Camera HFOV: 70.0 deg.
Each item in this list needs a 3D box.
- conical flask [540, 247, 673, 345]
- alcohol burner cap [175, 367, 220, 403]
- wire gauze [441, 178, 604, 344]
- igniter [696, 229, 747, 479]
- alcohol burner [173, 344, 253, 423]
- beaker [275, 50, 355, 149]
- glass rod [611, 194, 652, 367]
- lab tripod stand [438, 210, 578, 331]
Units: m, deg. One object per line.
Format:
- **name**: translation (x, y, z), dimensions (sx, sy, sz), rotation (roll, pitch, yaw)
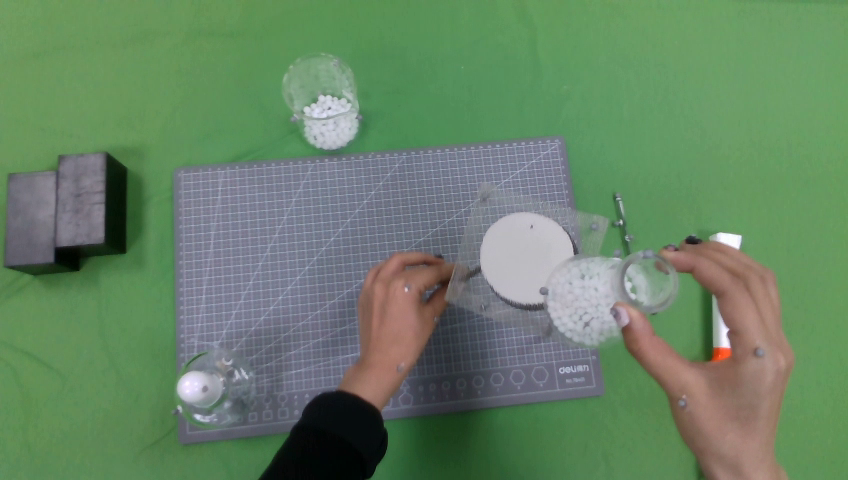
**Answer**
- **conical flask**: translation (0.131, 0.035, 0.426), dimensions (0.075, 0.122, 0.075), rotation (1, 79, -3)
- **alcohol burner cap**: translation (-0.207, 0.129, 0.549), dimensions (0.034, 0.048, 0.033), rotation (2, 71, -4)
- **wire gauze**: translation (0.090, 0.016, 0.546), dimensions (0.125, 0.011, 0.121), rotation (19, 80, 2)
- **igniter**: translation (0.323, 0.124, 0.660), dimensions (0.057, 0.025, 0.275), rotation (8, 78, -12)
- **alcohol burner**: translation (-0.209, 0.139, 0.584), dimensions (0.078, 0.119, 0.077), rotation (0, 79, -1)
- **beaker**: translation (-0.111, -0.147, 0.659), dimensions (0.084, 0.100, 0.074), rotation (30, 78, 3)
- **glass rod**: translation (0.232, 0.043, 0.682), dimensions (0.008, 0.008, 0.198), rotation (-7, 78, -4)
- **lab tripod stand**: translation (0.090, 0.032, 0.611), dimensions (0.148, 0.132, 0.148), rotation (0, 79, -1)
